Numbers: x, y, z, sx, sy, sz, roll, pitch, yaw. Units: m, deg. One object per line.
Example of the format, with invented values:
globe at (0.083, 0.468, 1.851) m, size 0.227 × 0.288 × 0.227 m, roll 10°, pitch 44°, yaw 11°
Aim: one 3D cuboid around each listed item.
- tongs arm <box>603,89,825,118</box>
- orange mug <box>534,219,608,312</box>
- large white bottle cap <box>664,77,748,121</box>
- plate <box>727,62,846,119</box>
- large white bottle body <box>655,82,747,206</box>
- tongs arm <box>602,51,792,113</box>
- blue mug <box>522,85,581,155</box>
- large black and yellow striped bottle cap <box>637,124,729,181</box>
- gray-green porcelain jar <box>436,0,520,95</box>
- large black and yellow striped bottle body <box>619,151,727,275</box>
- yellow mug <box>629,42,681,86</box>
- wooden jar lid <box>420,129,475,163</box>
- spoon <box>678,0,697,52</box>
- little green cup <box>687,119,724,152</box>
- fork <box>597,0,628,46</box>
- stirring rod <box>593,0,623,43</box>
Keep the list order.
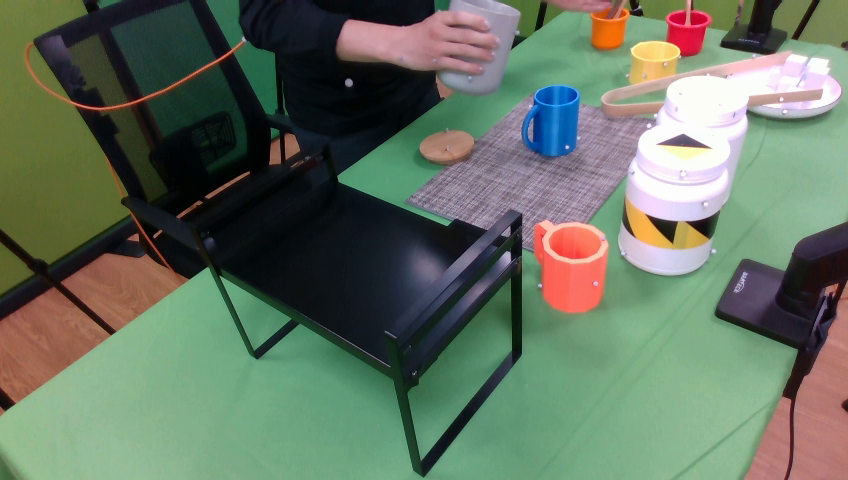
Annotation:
tongs arm at (0.546, -0.262, 1.163) m, size 0.386 × 0.028 × 0.028 m, roll -1°, pitch 49°, yaw 18°
orange mug at (0.200, 0.027, 0.858) m, size 0.084 × 0.101 × 0.125 m, roll -24°, pitch 47°, yaw -18°
large white bottle cap at (0.421, -0.212, 0.905) m, size 0.115 × 0.018 × 0.114 m, roll -4°, pitch 40°, yaw 4°
plate at (0.709, -0.292, 1.197) m, size 0.207 × 0.039 × 0.206 m, roll -4°, pitch 40°, yaw 4°
large white bottle body at (0.430, -0.148, 0.959) m, size 0.130 × 0.185 × 0.130 m, roll -4°, pitch 41°, yaw 4°
tongs arm at (0.552, -0.320, 1.224) m, size 0.384 × 0.027 × 0.050 m, roll -10°, pitch 43°, yaw 7°
blue mug at (0.233, -0.218, 1.127) m, size 0.117 × 0.106 × 0.081 m, roll -23°, pitch 43°, yaw -16°
large black and yellow striped bottle cap at (0.346, -0.119, 0.810) m, size 0.115 × 0.019 × 0.114 m, roll -5°, pitch 41°, yaw 5°
gray-green porcelain jar at (0.078, -0.294, 0.922) m, size 0.106 × 0.126 × 0.105 m, roll 11°, pitch 31°, yaw -6°
large black and yellow striped bottle body at (0.354, -0.056, 0.865) m, size 0.131 × 0.185 × 0.130 m, roll -4°, pitch 41°, yaw 4°
yellow mug at (0.495, -0.389, 1.321) m, size 0.100 × 0.064 × 0.130 m, roll -14°, pitch 40°, yaw -6°
wooden jar lid at (0.047, -0.183, 1.183) m, size 0.108 × 0.021 × 0.108 m, roll -6°, pitch 37°, yaw 5°
spoon at (0.614, -0.526, 1.402) m, size 0.041 × 0.022 × 0.193 m, roll 3°, pitch 86°, yaw 11°
little green cup at (0.514, -0.191, 1.109) m, size 0.061 × 0.039 × 0.061 m, roll -5°, pitch 40°, yaw 5°
fork at (0.479, -0.558, 1.454) m, size 0.028 × 0.019 × 0.207 m, roll 35°, pitch 100°, yaw 38°
stirring rod at (0.460, -0.557, 1.461) m, size 0.014 × 0.176 × 0.006 m, roll 35°, pitch 11°, yaw 22°
